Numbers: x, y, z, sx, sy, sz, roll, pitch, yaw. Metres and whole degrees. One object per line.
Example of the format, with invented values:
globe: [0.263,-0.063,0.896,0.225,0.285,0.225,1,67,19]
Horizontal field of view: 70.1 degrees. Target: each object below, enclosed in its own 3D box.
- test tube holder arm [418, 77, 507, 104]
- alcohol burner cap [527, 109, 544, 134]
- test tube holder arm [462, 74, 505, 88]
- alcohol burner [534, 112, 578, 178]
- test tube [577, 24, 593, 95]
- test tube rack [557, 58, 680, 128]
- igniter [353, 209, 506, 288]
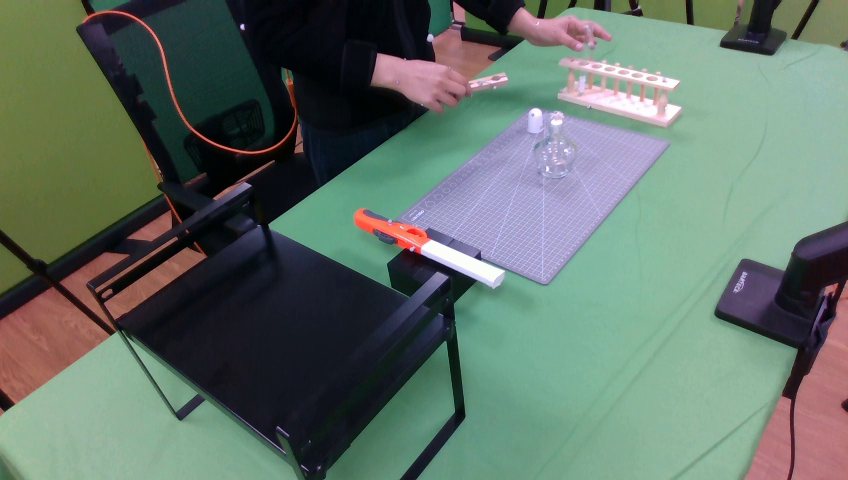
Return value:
test tube holder arm: [0.072,-0.276,1.111,0.179,0.015,0.013,-17,63,-18]
alcohol burner cap: [0.222,-0.238,1.203,0.034,0.048,0.033,-5,40,5]
test tube holder arm: [0.111,-0.293,1.128,0.088,0.015,0.010,-18,63,-18]
alcohol burner: [0.232,-0.170,1.065,0.078,0.119,0.077,-5,39,5]
test tube: [0.326,-0.363,1.228,0.017,0.151,0.017,-2,44,3]
test tube rack: [0.395,-0.309,1.230,0.240,0.085,0.067,25,50,33]
igniter: [-0.003,0.006,0.892,0.274,0.025,0.057,24,37,31]
